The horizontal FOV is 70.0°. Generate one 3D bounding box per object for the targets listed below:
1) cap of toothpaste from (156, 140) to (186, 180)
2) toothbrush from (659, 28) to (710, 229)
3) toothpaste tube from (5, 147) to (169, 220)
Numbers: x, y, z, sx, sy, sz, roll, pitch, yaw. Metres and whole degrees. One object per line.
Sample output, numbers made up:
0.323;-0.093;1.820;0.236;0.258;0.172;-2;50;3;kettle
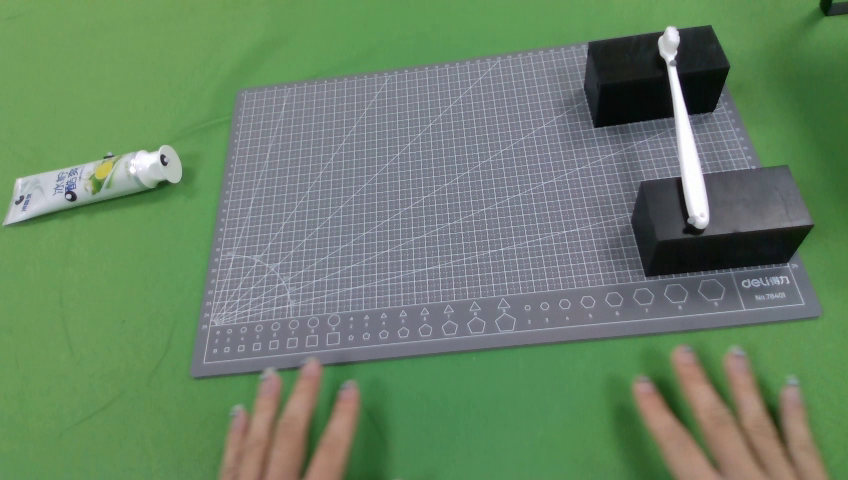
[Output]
-0.228;-0.071;0.543;0.011;0.038;0.037;-11;57;7;cap of toothpaste
0.189;-0.087;0.439;0.014;0.017;0.180;7;61;-4;toothbrush
-0.305;-0.058;0.554;0.165;0.035;0.054;-11;55;6;toothpaste tube
